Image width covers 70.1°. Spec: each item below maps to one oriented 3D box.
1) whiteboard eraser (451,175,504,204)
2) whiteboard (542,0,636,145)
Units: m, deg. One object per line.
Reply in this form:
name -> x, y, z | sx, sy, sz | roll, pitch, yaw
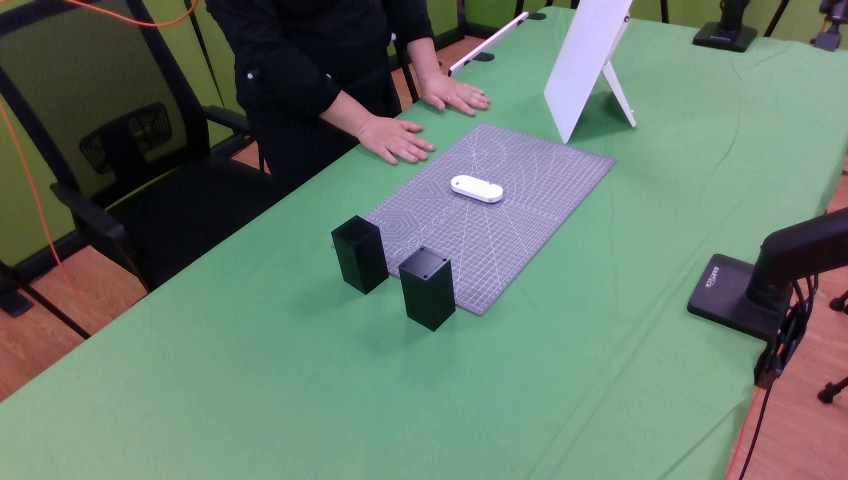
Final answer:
whiteboard eraser -> 0.093, -0.089, 1.059 | 0.100, 0.019, 0.041 | 21, 48, 30
whiteboard -> 0.365, -0.351, 1.160 | 0.144, 0.305, 0.216 | 9, 39, -10
